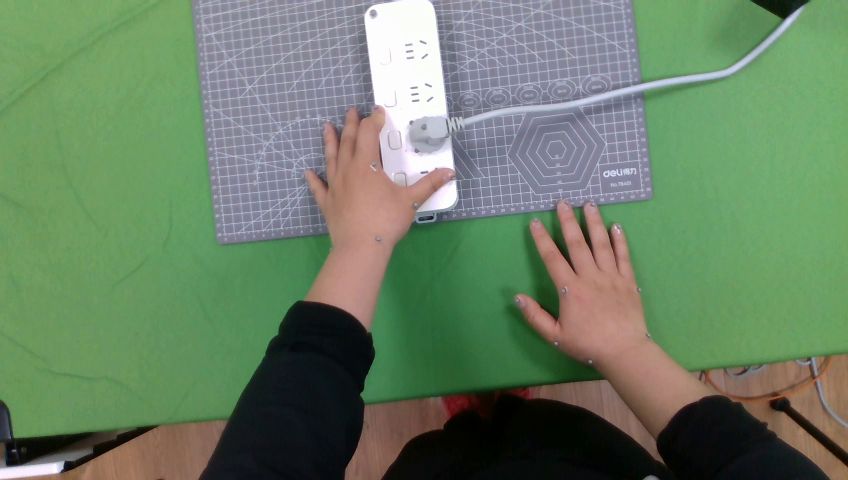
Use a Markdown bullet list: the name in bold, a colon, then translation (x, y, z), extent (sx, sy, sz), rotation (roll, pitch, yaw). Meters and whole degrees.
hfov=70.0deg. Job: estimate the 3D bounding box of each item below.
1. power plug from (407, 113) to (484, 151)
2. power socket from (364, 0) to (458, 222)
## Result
- **power plug**: translation (0.020, -0.103, 0.587), extent (0.072, 0.052, 0.035), rotation (4, 91, 1)
- **power socket**: translation (-0.013, -0.132, 0.607), extent (0.072, 0.032, 0.226), rotation (-7, 89, 3)
